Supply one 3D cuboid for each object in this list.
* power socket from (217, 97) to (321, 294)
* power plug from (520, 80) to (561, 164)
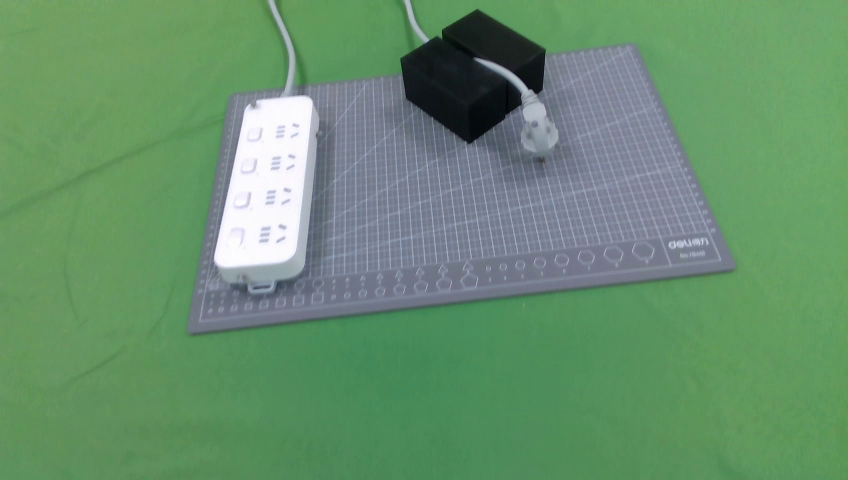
[{"bbox_3d":[-0.141,-0.054,0.569,0.072,0.033,0.224,-4,53,3],"label":"power socket"},{"bbox_3d":[0.109,-0.109,0.564,0.035,0.053,0.072,-2,61,14],"label":"power plug"}]
